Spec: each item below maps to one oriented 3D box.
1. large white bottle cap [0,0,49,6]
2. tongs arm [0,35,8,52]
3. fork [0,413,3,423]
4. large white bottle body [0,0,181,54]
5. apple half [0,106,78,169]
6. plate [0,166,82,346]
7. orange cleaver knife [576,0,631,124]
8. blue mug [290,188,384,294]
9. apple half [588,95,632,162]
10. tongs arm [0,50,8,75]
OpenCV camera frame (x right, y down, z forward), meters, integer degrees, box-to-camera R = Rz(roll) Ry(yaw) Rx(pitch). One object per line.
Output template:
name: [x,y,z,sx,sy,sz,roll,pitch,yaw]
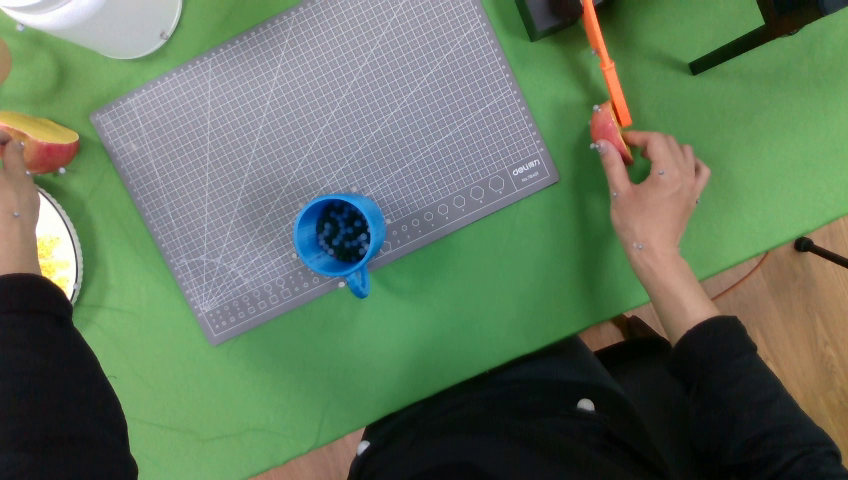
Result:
large white bottle cap: [-0.338,-0.254,0.499,0.115,0.018,0.115,0,97,2]
tongs arm: [-0.622,-0.267,0.632,0.387,0.028,0.028,17,90,1]
fork: [-0.587,0.227,0.664,0.208,0.018,0.028,-13,97,-40]
large white bottle body: [-0.334,-0.263,0.583,0.130,0.184,0.131,0,96,2]
apple half: [-0.426,-0.106,0.660,0.081,0.074,0.053,23,108,-10]
plate: [-0.491,0.016,0.693,0.209,0.038,0.209,0,97,2]
orange cleaver knife: [0.174,-0.219,0.627,0.012,0.076,0.213,-23,122,12]
blue mug: [-0.084,0.002,0.646,0.082,0.105,0.117,-17,96,3]
apple half: [0.195,-0.115,0.647,0.033,0.081,0.081,-20,96,20]
tongs arm: [-0.634,-0.185,0.640,0.385,0.026,0.051,3,93,3]
